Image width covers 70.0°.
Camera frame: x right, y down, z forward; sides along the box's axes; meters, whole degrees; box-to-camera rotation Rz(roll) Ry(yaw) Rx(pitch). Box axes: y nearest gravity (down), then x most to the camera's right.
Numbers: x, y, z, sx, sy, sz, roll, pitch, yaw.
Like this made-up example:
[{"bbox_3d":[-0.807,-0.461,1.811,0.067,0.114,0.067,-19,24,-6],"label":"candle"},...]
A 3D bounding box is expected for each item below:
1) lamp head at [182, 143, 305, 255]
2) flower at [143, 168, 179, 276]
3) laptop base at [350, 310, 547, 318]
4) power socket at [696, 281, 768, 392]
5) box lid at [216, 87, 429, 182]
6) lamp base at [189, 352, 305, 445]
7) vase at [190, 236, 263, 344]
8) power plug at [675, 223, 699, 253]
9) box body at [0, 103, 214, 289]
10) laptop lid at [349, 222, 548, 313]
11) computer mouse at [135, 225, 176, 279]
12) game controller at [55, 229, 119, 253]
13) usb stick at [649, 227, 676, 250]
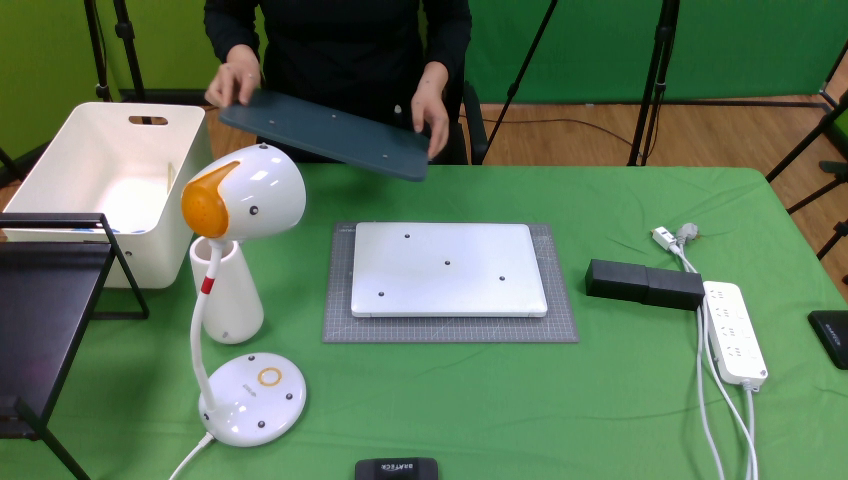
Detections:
[{"bbox_3d":[-0.216,-0.044,0.697,0.112,0.113,0.123,23,31,17],"label":"lamp head"},{"bbox_3d":[-0.495,-0.053,1.173,0.044,0.038,0.359,-41,34,17],"label":"flower"},{"bbox_3d":[0.042,0.056,1.149,0.355,0.023,0.234,0,43,-4],"label":"laptop base"},{"bbox_3d":[0.543,0.161,1.077,0.072,0.033,0.225,6,46,2],"label":"power socket"},{"bbox_3d":[-0.168,-0.202,1.132,0.372,0.015,0.262,16,25,-6],"label":"box lid"},{"bbox_3d":[-0.268,0.196,0.876,0.160,0.181,0.179,26,52,20],"label":"lamp base"},{"bbox_3d":[-0.317,0.081,0.971,0.098,0.201,0.097,3,47,-3],"label":"vase"},{"bbox_3d":[0.537,0.000,1.244,0.053,0.035,0.072,19,82,-17],"label":"power plug"},{"bbox_3d":[-0.563,-0.087,1.139,0.254,0.161,0.361,2,46,-3],"label":"box body"},{"bbox_3d":[0.042,0.046,1.142,0.357,0.013,0.240,2,44,-3],"label":"laptop lid"},{"bbox_3d":[-0.495,0.019,1.118,0.063,0.041,0.116,-1,56,-13],"label":"computer mouse"},{"bbox_3d":[-0.597,0.010,1.116,0.155,0.052,0.096,1,48,-1],"label":"game controller"},{"bbox_3d":[0.485,-0.008,1.238,0.021,0.027,0.059,-22,43,-14],"label":"usb stick"}]
